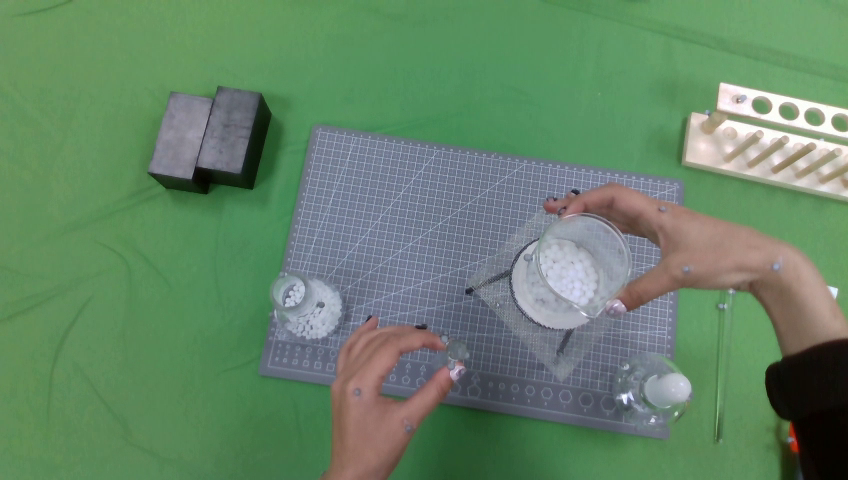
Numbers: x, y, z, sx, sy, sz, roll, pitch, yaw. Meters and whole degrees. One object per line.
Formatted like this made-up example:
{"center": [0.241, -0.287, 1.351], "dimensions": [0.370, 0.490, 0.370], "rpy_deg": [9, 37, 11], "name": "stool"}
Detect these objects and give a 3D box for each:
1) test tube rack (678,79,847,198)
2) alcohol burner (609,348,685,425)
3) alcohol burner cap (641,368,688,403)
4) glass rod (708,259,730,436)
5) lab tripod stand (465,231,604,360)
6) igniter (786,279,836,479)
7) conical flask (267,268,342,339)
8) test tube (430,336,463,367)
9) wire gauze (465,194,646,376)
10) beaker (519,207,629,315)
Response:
{"center": [0.432, -0.111, 0.697], "dimensions": [0.242, 0.085, 0.066], "rpy_deg": [13, 76, 2], "name": "test tube rack"}
{"center": [0.231, 0.147, 0.613], "dimensions": [0.078, 0.119, 0.077], "rpy_deg": [0, 75, 1], "name": "alcohol burner"}
{"center": [0.232, 0.137, 0.578], "dimensions": [0.034, 0.048, 0.033], "rpy_deg": [2, 70, -5], "name": "alcohol burner cap"}
{"center": [0.331, 0.118, 0.679], "dimensions": [0.008, 0.008, 0.199], "rpy_deg": [11, 79, 1], "name": "glass rod"}
{"center": [0.118, 0.051, 0.623], "dimensions": [0.148, 0.132, 0.147], "rpy_deg": [0, 77, 1], "name": "lab tripod stand"}
{"center": [0.421, 0.178, 0.657], "dimensions": [0.057, 0.025, 0.275], "rpy_deg": [13, 76, -9], "name": "igniter"}
{"center": [-0.128, 0.059, 0.620], "dimensions": [0.075, 0.122, 0.075], "rpy_deg": [0, 76, -1], "name": "conical flask"}
{"center": [0.017, 0.096, 0.514], "dimensions": [0.017, 0.151, 0.017], "rpy_deg": [1, 75, -3], "name": "test tube"}
{"center": [0.121, 0.038, 0.558], "dimensions": [0.121, 0.011, 0.124], "rpy_deg": [-43, 82, -8], "name": "wire gauze"}
{"center": [0.121, 0.026, 0.511], "dimensions": [0.074, 0.100, 0.083], "rpy_deg": [-9, 77, -2], "name": "beaker"}
